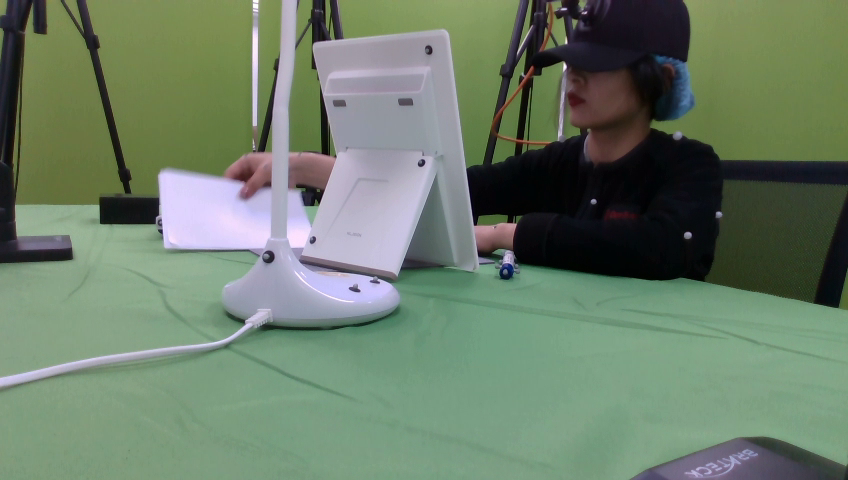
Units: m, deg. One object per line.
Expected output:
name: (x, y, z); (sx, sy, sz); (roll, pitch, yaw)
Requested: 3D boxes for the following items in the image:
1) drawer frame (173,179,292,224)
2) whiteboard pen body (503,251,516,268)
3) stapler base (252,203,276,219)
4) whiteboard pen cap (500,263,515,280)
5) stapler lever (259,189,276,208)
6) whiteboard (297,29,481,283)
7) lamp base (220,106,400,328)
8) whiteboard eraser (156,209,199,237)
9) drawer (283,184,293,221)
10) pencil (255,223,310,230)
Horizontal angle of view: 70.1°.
drawer frame: (-0.400, -0.086, 1.300); (0.214, 0.082, 0.201); (1, 8, -8)
whiteboard pen body: (0.115, 0.031, 0.815); (0.017, 0.017, 0.141); (4, 6, 9)
stapler base: (-0.341, -0.065, 1.301); (0.041, 0.024, 0.130); (15, 4, -11)
whiteboard pen cap: (0.105, 0.038, 0.758); (0.018, 0.018, 0.033); (4, 10, 9)
stapler lever: (-0.335, -0.090, 1.300); (0.027, 0.040, 0.118); (16, 4, -10)
whiteboard: (-0.076, -0.082, 0.741); (0.216, 0.305, 0.144); (9, 29, 37)
lamp base: (-0.101, -0.023, 0.531); (0.160, 0.180, 0.179); (4, 10, 10)
whiteboard eraser: (-0.411, -0.029, 1.015); (0.056, 0.042, 0.112); (2, 7, -15)
drawer: (-0.396, -0.084, 1.301); (0.212, 0.073, 0.194); (1, 8, -7)
pencil: (-0.216, -0.023, 1.134); (0.195, 0.012, 0.012); (1, 7, -21)
